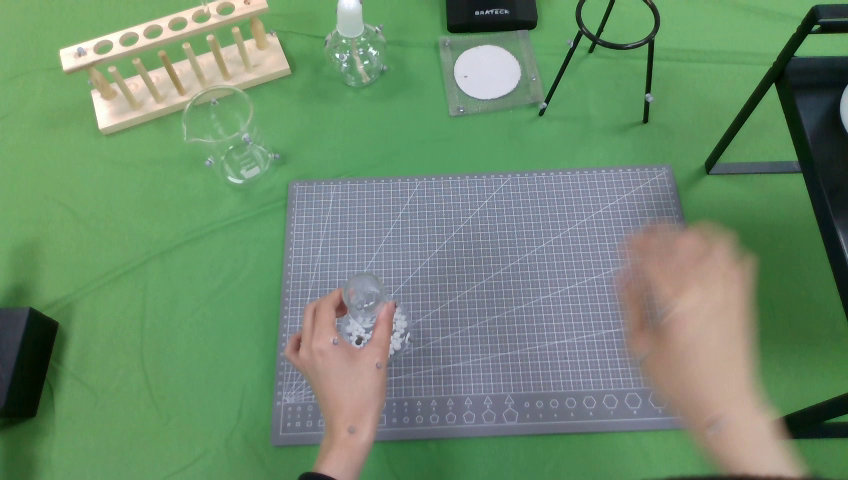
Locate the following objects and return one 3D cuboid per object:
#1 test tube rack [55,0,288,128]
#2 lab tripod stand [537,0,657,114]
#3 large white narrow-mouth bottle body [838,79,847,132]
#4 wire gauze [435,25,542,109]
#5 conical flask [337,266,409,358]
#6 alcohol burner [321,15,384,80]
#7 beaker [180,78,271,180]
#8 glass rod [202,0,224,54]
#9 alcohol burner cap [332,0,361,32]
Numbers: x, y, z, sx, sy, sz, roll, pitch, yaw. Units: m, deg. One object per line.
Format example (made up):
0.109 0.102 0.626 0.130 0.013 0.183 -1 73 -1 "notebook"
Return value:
-0.300 -0.224 0.739 0.242 0.086 0.066 -21 67 -8 "test tube rack"
0.208 -0.218 0.701 0.148 0.132 0.147 0 65 -1 "lab tripod stand"
0.401 -0.146 0.435 0.102 0.196 0.101 0 64 1 "large white narrow-mouth bottle body"
0.081 -0.226 0.775 0.121 0.011 0.124 -6 66 -3 "wire gauze"
-0.054 0.064 0.582 0.075 0.123 0.074 0 65 1 "conical flask"
-0.089 -0.252 0.733 0.078 0.120 0.077 0 63 0 "alcohol burner"
-0.220 -0.118 0.683 0.084 0.101 0.073 -42 71 -16 "beaker"
-0.254 -0.286 0.693 0.008 0.201 0.008 2 64 -3 "glass rod"
-0.090 -0.269 0.701 0.034 0.048 0.033 3 64 -7 "alcohol burner cap"
